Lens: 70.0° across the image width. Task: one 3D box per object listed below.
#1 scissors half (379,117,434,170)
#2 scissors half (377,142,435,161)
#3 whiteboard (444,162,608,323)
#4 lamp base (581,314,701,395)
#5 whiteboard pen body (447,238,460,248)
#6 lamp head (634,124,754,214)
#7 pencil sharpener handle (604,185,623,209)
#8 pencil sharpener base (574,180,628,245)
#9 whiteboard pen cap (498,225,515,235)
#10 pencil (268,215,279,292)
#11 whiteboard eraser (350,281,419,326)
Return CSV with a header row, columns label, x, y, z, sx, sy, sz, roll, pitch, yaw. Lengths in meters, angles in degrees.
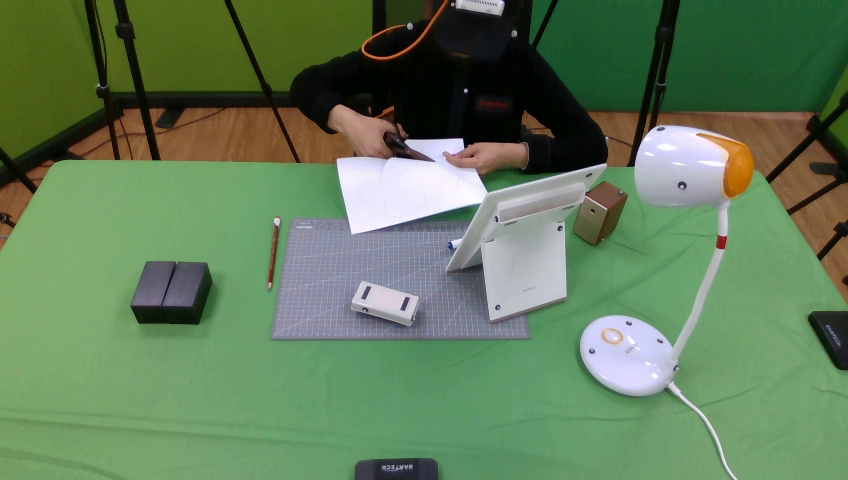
label,x,y,z,sx,sy,sz,roll,pitch,yaw
scissors half,-0.038,-0.209,1.310,0.013,0.040,0.174,-30,69,-37
scissors half,-0.041,-0.189,1.324,0.174,0.040,0.013,13,29,41
whiteboard,0.186,0.025,1.029,0.217,0.306,0.143,-14,68,-17
lamp base,0.361,0.144,0.972,0.178,0.181,0.160,34,53,23
whiteboard pen body,0.112,-0.005,1.204,0.141,0.017,0.017,-14,49,-18
lamp head,0.351,-0.089,0.776,0.112,0.113,0.122,-30,30,-28
pencil sharpener handle,0.390,-0.091,1.235,0.030,0.068,0.036,-34,69,-31
pencil sharpener base,0.356,-0.056,1.217,0.076,0.107,0.061,-33,56,-31
whiteboard pen cap,0.166,-0.019,1.222,0.033,0.018,0.018,-14,49,-19
pencil,-0.290,0.023,1.164,0.012,0.012,0.192,-2,48,-6
whiteboard eraser,-0.069,0.113,1.065,0.112,0.042,0.055,14,46,9
